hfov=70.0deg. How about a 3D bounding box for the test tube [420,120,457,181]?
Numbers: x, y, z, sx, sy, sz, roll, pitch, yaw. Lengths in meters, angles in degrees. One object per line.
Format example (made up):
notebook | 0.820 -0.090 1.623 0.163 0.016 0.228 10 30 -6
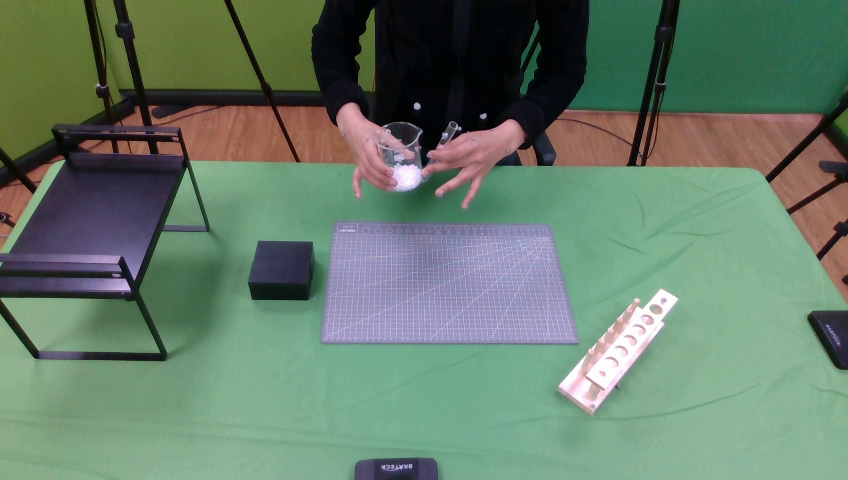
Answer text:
test tube | 0.022 -0.147 1.021 0.017 0.150 0.017 11 55 -16

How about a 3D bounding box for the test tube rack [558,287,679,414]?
test tube rack | 0.326 0.170 1.009 0.066 0.085 0.242 35 54 26

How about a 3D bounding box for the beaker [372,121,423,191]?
beaker | -0.039 -0.140 1.022 0.084 0.101 0.073 -21 48 -12
